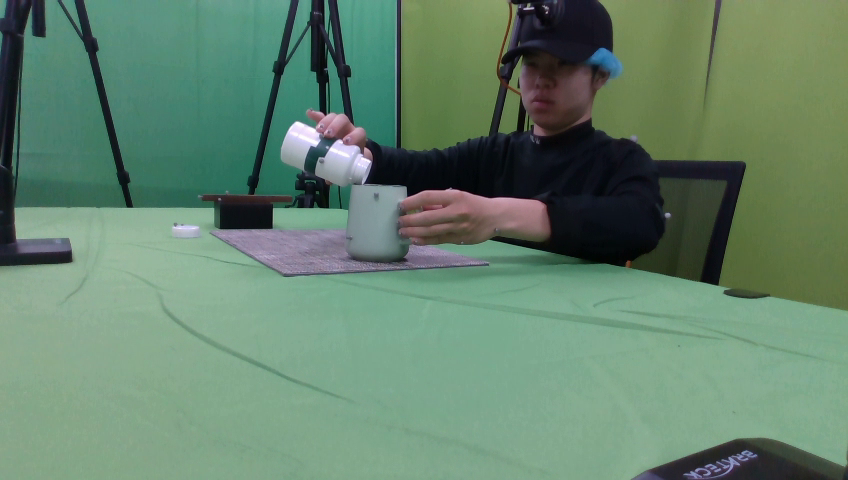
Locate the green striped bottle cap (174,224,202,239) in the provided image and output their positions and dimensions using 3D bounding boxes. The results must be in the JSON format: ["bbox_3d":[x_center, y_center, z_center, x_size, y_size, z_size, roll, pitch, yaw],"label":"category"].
[{"bbox_3d":[-0.404,-0.015,1.036,0.044,0.020,0.044,-2,9,1],"label":"green striped bottle cap"}]

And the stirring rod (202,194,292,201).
[{"bbox_3d":[-0.353,-0.086,1.216,0.177,0.014,0.006,-1,12,-27],"label":"stirring rod"}]

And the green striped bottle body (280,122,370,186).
[{"bbox_3d":[-0.138,-0.119,0.863,0.119,0.063,0.063,22,8,1],"label":"green striped bottle body"}]

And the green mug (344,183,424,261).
[{"bbox_3d":[-0.053,-0.026,0.849,0.125,0.105,0.093,7,8,33],"label":"green mug"}]
